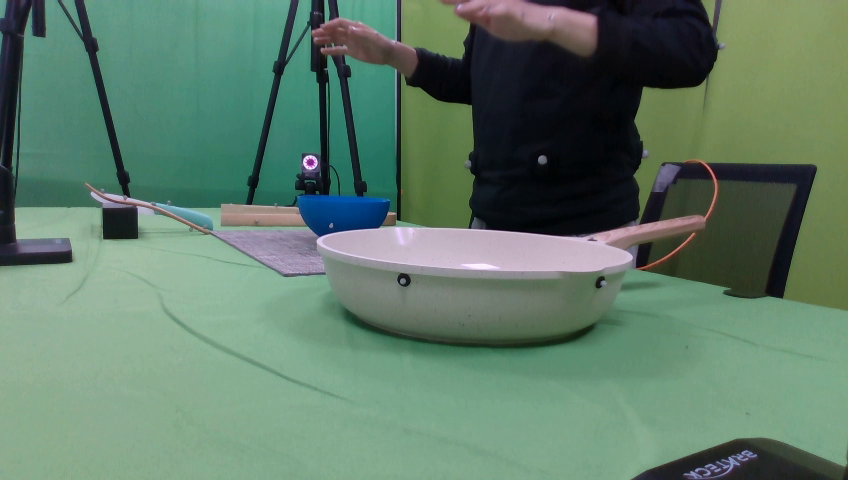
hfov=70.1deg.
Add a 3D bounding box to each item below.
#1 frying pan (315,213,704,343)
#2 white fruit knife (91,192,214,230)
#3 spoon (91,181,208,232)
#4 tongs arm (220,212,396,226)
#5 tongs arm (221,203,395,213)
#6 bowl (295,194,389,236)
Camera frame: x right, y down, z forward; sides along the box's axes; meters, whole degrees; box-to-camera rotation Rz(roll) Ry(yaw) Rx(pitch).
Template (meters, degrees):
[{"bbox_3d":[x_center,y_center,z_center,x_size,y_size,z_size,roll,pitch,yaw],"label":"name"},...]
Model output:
[{"bbox_3d":[0.133,0.013,0.629,0.490,0.102,0.305,-11,14,-29],"label":"frying pan"},{"bbox_3d":[-0.477,-0.055,1.077,0.208,0.027,0.016,15,-5,-30],"label":"white fruit knife"},{"bbox_3d":[-0.461,-0.053,1.023,0.195,0.021,0.041,21,22,-24],"label":"spoon"},{"bbox_3d":[-0.233,-0.046,1.292,0.389,0.028,0.028,-1,6,-27],"label":"tongs arm"},{"bbox_3d":[-0.258,-0.061,1.368,0.386,0.026,0.050,1,8,-14],"label":"tongs arm"},{"bbox_3d":[-0.132,-0.032,0.980,0.151,0.077,0.151,2,7,0],"label":"bowl"}]
